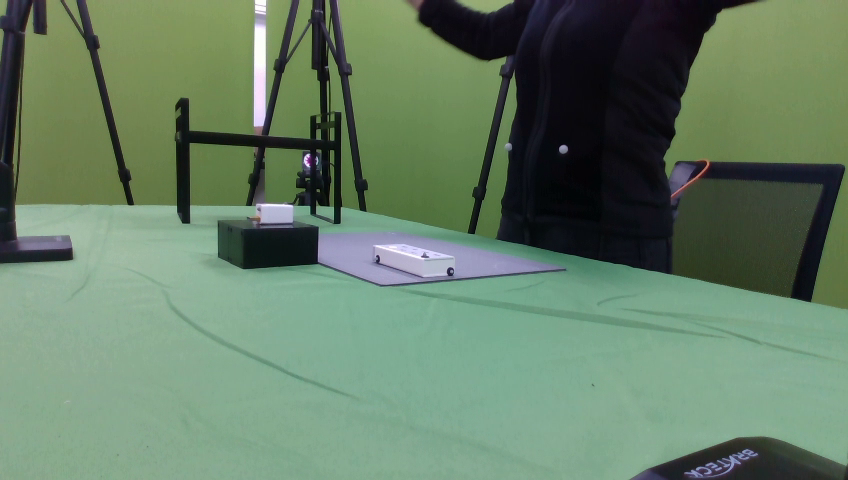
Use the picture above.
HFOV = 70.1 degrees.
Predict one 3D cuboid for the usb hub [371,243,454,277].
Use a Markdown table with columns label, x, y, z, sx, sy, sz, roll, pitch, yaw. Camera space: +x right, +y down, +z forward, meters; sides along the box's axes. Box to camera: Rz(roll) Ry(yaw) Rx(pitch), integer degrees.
| label | x | y | z | sx | sy | sz | roll | pitch | yaw |
| --- | --- | --- | --- | --- | --- | --- | --- | --- | --- |
| usb hub | -0.018 | 0.024 | 0.777 | 0.050 | 0.025 | 0.124 | -3 | 9 | -34 |

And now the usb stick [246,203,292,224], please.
| label | x | y | z | sx | sy | sz | roll | pitch | yaw |
| --- | --- | --- | --- | --- | --- | --- | --- | --- | --- |
| usb stick | -0.207 | -0.035 | 0.802 | 0.059 | 0.027 | 0.021 | -6 | 14 | -36 |
